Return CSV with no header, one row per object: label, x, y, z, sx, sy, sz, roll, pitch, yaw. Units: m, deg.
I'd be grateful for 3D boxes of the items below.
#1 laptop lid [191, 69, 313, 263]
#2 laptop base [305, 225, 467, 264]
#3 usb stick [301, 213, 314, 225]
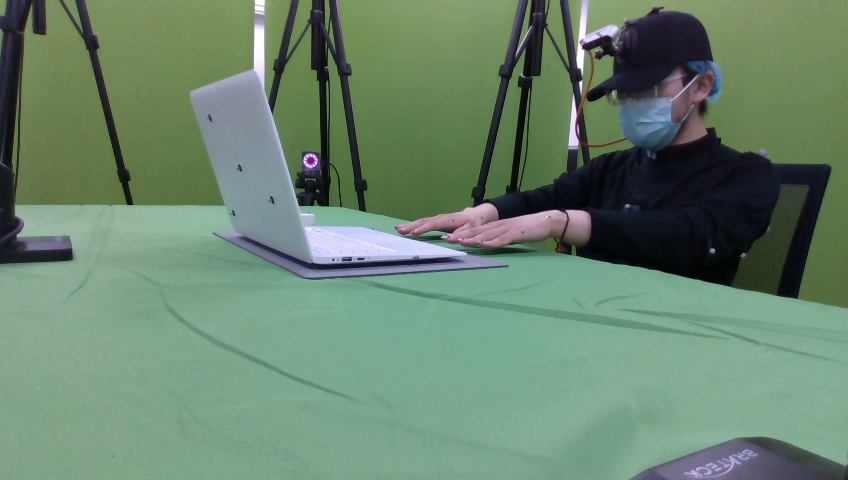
laptop lid,-0.252,-0.102,0.839,0.013,0.242,0.355,-22,20,-28
laptop base,-0.126,0.005,0.937,0.237,0.023,0.352,2,7,-33
usb stick,-0.255,-0.042,1.232,0.059,0.027,0.021,-7,13,-42
